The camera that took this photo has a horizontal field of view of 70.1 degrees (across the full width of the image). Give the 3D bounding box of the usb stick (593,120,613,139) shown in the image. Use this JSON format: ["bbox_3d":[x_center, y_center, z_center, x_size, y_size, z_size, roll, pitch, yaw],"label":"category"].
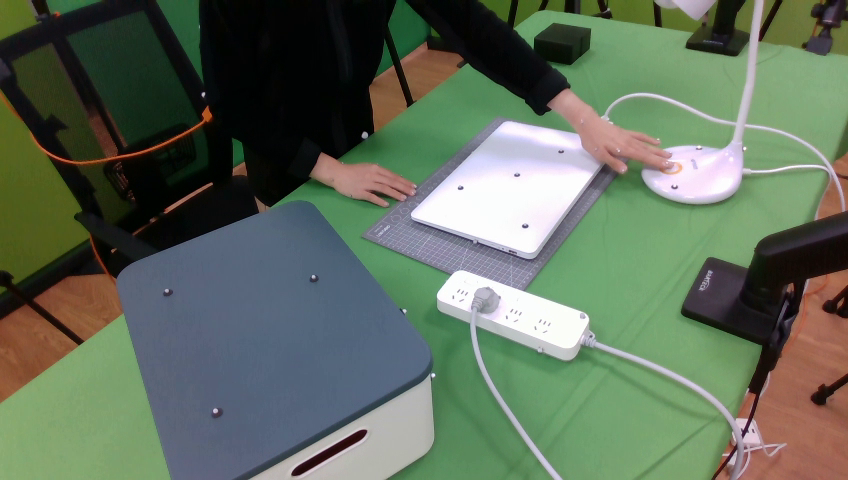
[{"bbox_3d":[0.336,-0.201,1.146,0.021,0.027,0.059,26,53,26],"label":"usb stick"}]

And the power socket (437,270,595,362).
[{"bbox_3d":[0.119,0.101,0.832,0.225,0.033,0.072,19,48,27],"label":"power socket"}]

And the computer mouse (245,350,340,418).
[{"bbox_3d":[-0.165,0.173,0.754,0.118,0.041,0.062,-18,34,-18],"label":"computer mouse"}]

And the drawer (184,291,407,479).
[{"bbox_3d":[-0.155,0.179,0.719,0.195,0.073,0.210,-27,40,-21],"label":"drawer"}]

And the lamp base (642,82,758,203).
[{"bbox_3d":[0.464,-0.174,0.992,0.179,0.181,0.159,-5,41,-1],"label":"lamp base"}]

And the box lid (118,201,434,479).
[{"bbox_3d":[-0.182,0.087,0.675,0.264,0.015,0.368,-25,42,-20],"label":"box lid"}]

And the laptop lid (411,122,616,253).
[{"bbox_3d":[0.165,-0.111,1.067,0.240,0.013,0.357,19,46,31],"label":"laptop lid"}]

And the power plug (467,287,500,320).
[{"bbox_3d":[0.073,0.092,0.814,0.035,0.053,0.073,29,53,35],"label":"power plug"}]

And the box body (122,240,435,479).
[{"bbox_3d":[-0.175,0.142,0.725,0.255,0.161,0.360,-25,43,-20],"label":"box body"}]

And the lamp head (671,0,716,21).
[{"bbox_3d":[0.375,-0.373,0.807,0.122,0.113,0.112,-40,27,32],"label":"lamp head"}]

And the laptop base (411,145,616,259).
[{"bbox_3d":[0.168,-0.101,1.073,0.234,0.023,0.355,17,46,30],"label":"laptop base"}]
